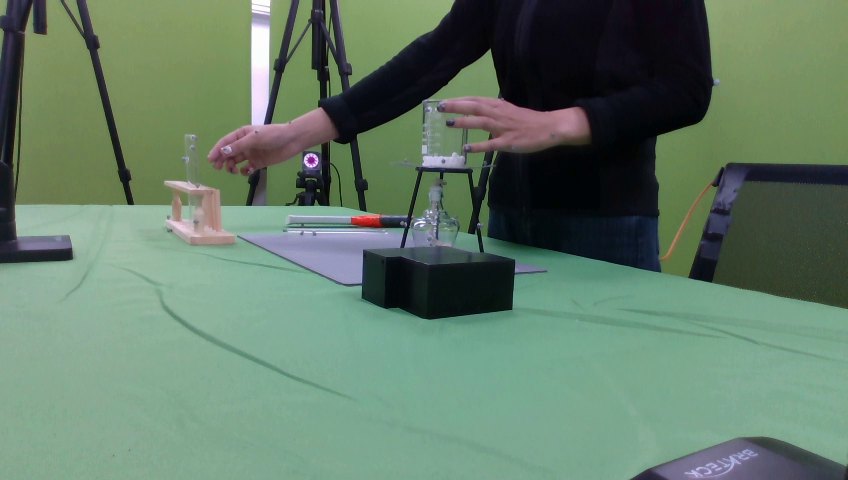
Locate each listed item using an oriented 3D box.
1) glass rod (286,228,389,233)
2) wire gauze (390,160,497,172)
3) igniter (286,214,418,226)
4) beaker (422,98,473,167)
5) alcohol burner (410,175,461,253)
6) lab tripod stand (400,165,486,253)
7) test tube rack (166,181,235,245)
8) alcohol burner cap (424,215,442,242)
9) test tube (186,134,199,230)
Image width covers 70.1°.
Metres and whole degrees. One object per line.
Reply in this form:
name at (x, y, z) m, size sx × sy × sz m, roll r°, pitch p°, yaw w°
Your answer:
glass rod at (-0.154, -0.016, 1.101) m, size 0.201 × 0.008 × 0.008 m, roll 1°, pitch 7°, yaw -31°
wire gauze at (0.028, -0.114, 0.920) m, size 0.122 × 0.011 × 0.124 m, roll -5°, pitch 13°, yaw -34°
igniter at (-0.146, -0.043, 1.263) m, size 0.278 × 0.025 × 0.057 m, roll -1°, pitch -2°, yaw -24°
beaker at (0.031, -0.162, 0.919) m, size 0.074 × 0.100 × 0.083 m, roll -4°, pitch 10°, yaw -36°
alcohol burner at (0.018, -0.040, 0.932) m, size 0.078 × 0.119 × 0.078 m, roll 0°, pitch 7°, yaw 0°
lab tripod stand at (0.027, -0.049, 0.930) m, size 0.148 × 0.131 × 0.148 m, roll 2°, pitch 9°, yaw 0°
test tube rack at (-0.383, -0.051, 1.024) m, size 0.067 × 0.085 × 0.241 m, roll -2°, pitch 9°, yaw -31°
alcohol burner cap at (0.017, -0.022, 1.098) m, size 0.034 × 0.048 × 0.034 m, roll 2°, pitch 8°, yaw 0°
test tube at (-0.360, -0.089, 0.946) m, size 0.017 × 0.150 × 0.017 m, roll 0°, pitch 10°, yaw 0°
